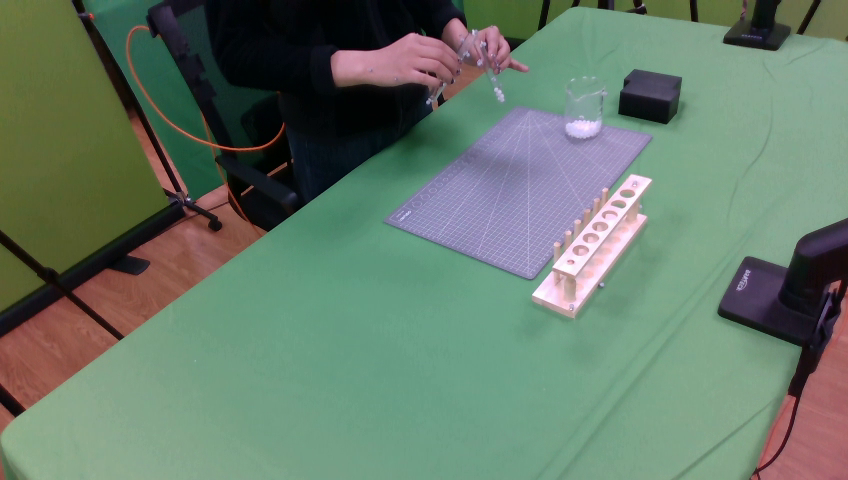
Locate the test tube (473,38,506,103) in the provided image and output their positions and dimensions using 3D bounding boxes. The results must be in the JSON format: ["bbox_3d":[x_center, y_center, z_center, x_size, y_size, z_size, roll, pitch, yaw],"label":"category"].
[{"bbox_3d":[0.117,-0.295,1.066,0.017,0.152,0.017,-12,56,19],"label":"test tube"}]

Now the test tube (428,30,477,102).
[{"bbox_3d":[0.046,-0.281,0.975,0.017,0.017,0.150,20,69,30],"label":"test tube"}]

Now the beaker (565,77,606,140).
[{"bbox_3d":[0.304,-0.247,1.153,0.073,0.101,0.084,15,47,27],"label":"beaker"}]

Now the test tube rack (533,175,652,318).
[{"bbox_3d":[0.250,-0.001,0.889,0.066,0.085,0.243,22,49,33],"label":"test tube rack"}]
